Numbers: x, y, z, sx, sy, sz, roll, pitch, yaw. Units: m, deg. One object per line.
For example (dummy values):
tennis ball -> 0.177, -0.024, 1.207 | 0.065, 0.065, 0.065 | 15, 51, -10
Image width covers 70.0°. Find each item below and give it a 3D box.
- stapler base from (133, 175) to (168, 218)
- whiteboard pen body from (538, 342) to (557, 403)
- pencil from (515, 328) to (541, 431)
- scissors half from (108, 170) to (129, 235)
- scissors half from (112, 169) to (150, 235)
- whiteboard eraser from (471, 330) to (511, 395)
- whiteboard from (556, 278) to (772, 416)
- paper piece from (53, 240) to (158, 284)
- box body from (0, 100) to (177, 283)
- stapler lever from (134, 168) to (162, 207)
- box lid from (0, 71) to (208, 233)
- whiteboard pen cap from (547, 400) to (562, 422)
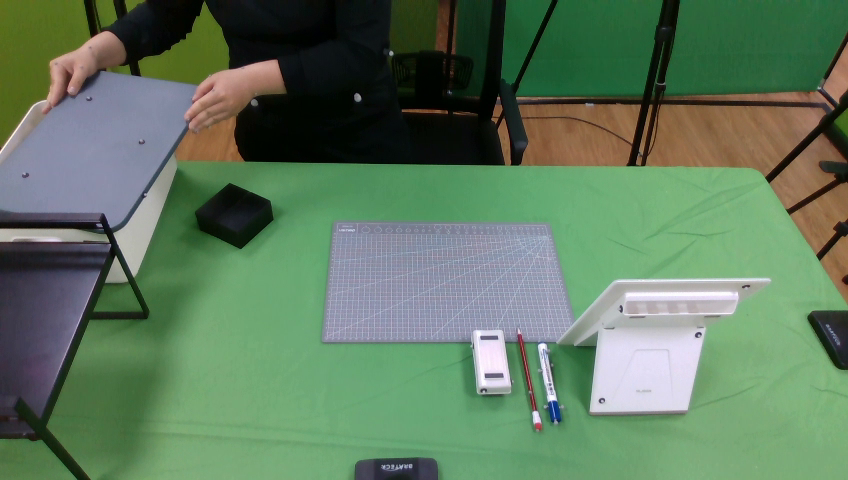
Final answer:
stapler base -> -0.558, -0.095, 1.234 | 0.041, 0.024, 0.129 | 4, 41, -11
whiteboard pen body -> 0.205, 0.228, 0.997 | 0.017, 0.017, 0.140 | 1, 47, -3
pencil -> 0.169, 0.224, 1.002 | 0.012, 0.012, 0.192 | -1, 46, -6
scissors half -> -0.617, -0.077, 1.224 | 0.040, 0.013, 0.174 | -14, 54, -8
scissors half -> -0.596, -0.078, 1.225 | 0.040, 0.013, 0.174 | 6, 53, 1
whiteboard eraser -> 0.110, 0.202, 0.998 | 0.055, 0.042, 0.112 | 1, 46, -5
whiteboard -> 0.347, 0.174, 0.903 | 0.217, 0.306, 0.143 | 1, 65, -4
paper piece -> -0.593, 0.037, 1.135 | 0.136, 0.009, 0.137 | 3, 33, 7
box body -> -0.639, -0.095, 1.140 | 0.254, 0.161, 0.361 | 1, 46, -4
stapler lever -> -0.555, -0.113, 1.220 | 0.027, 0.040, 0.117 | 4, 43, -11
box lid -> -0.574, -0.169, 1.073 | 0.263, 0.015, 0.369 | 11, 52, 5
whiteboard pen cap -> 0.205, 0.269, 0.956 | 0.018, 0.018, 0.033 | 0, 47, -5
